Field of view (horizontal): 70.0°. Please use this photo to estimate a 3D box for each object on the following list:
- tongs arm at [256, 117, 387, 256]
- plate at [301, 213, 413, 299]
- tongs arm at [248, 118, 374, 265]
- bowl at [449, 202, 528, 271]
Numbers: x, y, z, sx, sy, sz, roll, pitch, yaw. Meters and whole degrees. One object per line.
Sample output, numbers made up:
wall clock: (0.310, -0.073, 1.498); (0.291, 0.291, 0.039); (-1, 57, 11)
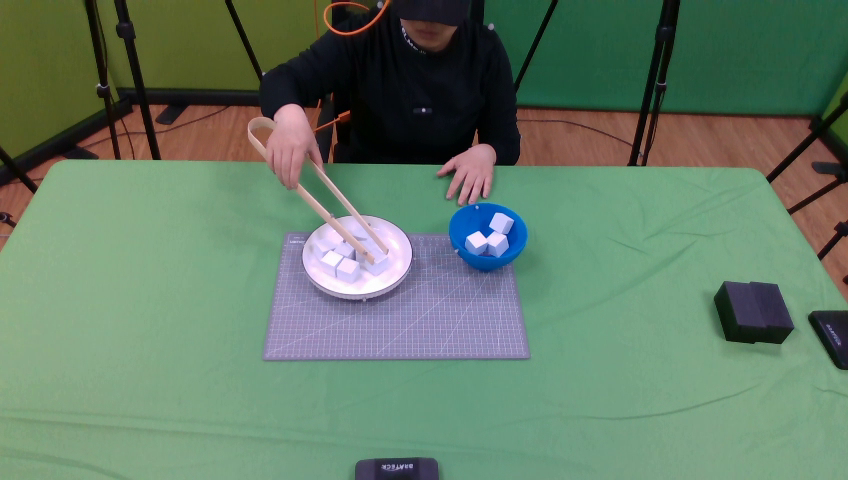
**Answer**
tongs arm: (-0.200, -0.110, 1.169); (0.028, 0.028, 0.386); (-36, 73, -26)
plate: (-0.124, 0.033, 1.143); (0.208, 0.039, 0.206); (2, 46, -2)
tongs arm: (-0.217, -0.099, 1.158); (0.383, 0.026, 0.050); (42, 59, 13)
bowl: (0.118, 0.006, 1.160); (0.151, 0.077, 0.150); (2, 46, -2)
